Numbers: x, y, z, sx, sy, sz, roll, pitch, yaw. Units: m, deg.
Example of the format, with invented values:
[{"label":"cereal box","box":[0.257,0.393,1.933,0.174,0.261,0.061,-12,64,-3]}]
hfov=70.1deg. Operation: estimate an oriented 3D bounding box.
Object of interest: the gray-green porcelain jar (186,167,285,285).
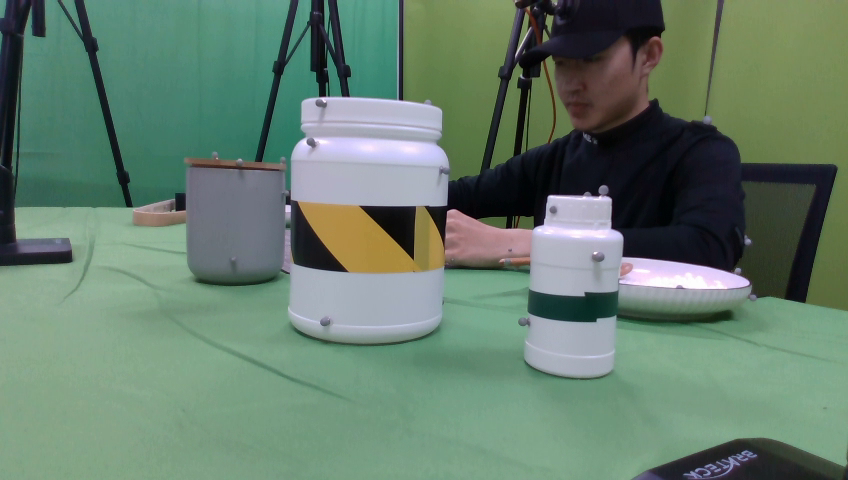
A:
[{"label":"gray-green porcelain jar","box":[-0.212,-0.017,0.682,0.106,0.126,0.106,2,7,0]}]

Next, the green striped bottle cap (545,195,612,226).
[{"label":"green striped bottle cap","box":[0.106,-0.020,0.414,0.044,0.020,0.044,2,4,0]}]

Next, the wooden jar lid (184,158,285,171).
[{"label":"wooden jar lid","box":[-0.210,-0.078,0.674,0.108,0.020,0.108,5,6,0]}]

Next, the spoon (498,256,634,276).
[{"label":"spoon","box":[0.162,0.027,0.679,0.195,0.021,0.041,8,3,-30]}]

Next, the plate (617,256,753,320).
[{"label":"plate","box":[0.234,0.049,0.650,0.209,0.038,0.209,2,7,0]}]

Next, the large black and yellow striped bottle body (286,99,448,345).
[{"label":"large black and yellow striped bottle body","box":[-0.047,-0.018,0.501,0.131,0.184,0.130,2,7,0]}]

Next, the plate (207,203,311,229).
[{"label":"plate","box":[-0.342,-0.050,1.259,0.208,0.039,0.207,2,7,0]}]

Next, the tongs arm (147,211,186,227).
[{"label":"tongs arm","box":[-0.478,-0.059,1.321,0.028,0.028,0.388,12,8,7]}]

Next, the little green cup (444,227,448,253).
[{"label":"little green cup","box":[0.008,0.001,0.919,0.061,0.038,0.061,-5,5,1]}]

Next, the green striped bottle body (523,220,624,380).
[{"label":"green striped bottle body","box":[0.104,0.031,0.421,0.063,0.119,0.063,2,7,0]}]

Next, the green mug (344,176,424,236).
[{"label":"green mug","box":[-0.057,-0.063,0.965,0.104,0.092,0.125,-5,22,25]}]

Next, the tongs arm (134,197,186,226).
[{"label":"tongs arm","box":[-0.556,-0.066,1.320,0.051,0.026,0.384,7,7,-5]}]

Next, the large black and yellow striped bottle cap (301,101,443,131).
[{"label":"large black and yellow striped bottle cap","box":[-0.042,-0.100,0.491,0.115,0.019,0.115,1,8,0]}]

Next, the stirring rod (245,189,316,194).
[{"label":"stirring rod","box":[-0.351,-0.120,1.489,0.177,0.014,0.006,-2,5,-29]}]
